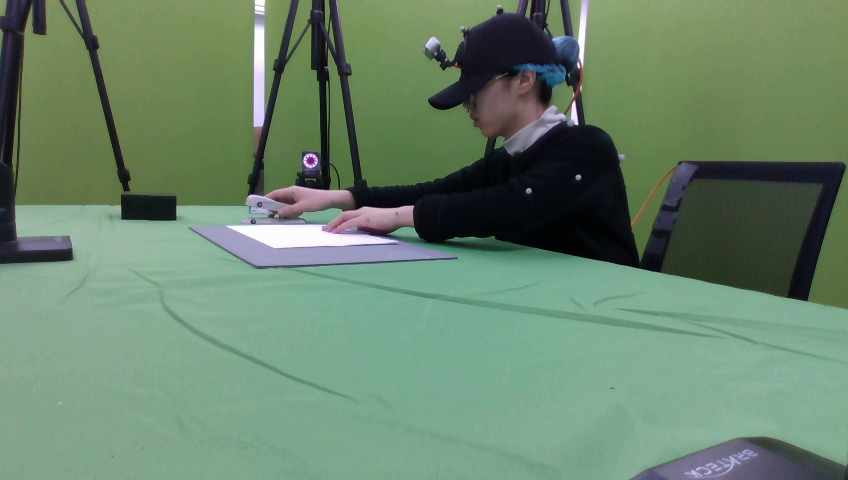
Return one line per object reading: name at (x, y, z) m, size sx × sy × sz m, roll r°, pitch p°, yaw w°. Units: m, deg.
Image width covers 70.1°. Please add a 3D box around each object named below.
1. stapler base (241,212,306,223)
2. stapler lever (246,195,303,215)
stapler base at (-0.316, -0.048, 1.272) m, size 0.131 × 0.024 × 0.041 m, roll -1°, pitch 10°, yaw -31°
stapler lever at (-0.313, -0.073, 1.270) m, size 0.119 × 0.040 × 0.026 m, roll 0°, pitch 9°, yaw -31°
